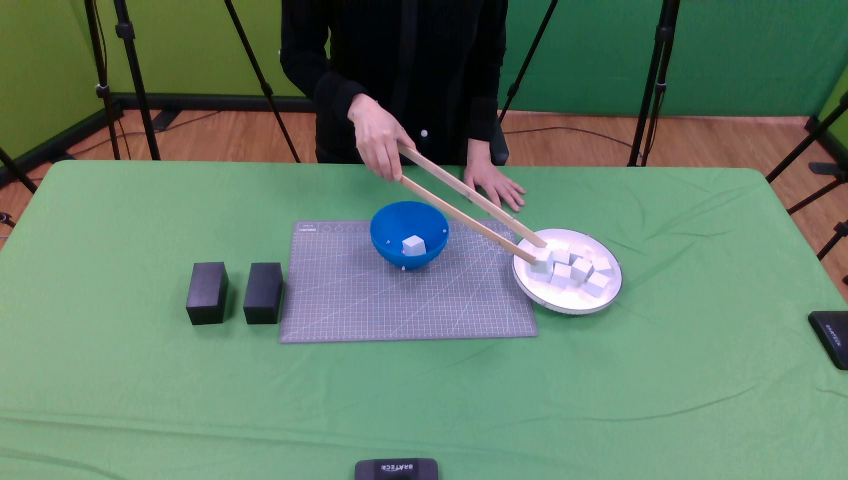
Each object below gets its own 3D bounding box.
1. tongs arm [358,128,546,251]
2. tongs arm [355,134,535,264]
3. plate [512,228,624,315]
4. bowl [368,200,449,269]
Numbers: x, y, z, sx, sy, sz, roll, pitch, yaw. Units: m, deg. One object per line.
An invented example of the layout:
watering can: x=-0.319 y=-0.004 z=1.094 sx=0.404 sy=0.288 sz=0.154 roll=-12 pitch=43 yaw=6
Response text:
tongs arm: x=0.040 y=-0.087 z=1.045 sx=0.383 sy=0.026 sz=0.050 roll=38 pitch=64 yaw=18
tongs arm: x=0.025 y=-0.071 z=1.034 sx=0.386 sy=0.028 sz=0.028 roll=34 pitch=66 yaw=16
plate: x=0.268 y=0.063 z=1.146 sx=0.208 sy=0.039 sz=0.206 roll=3 pitch=46 yaw=-3
bowl: x=-0.030 y=0.002 z=1.151 sx=0.151 sy=0.077 sz=0.150 roll=2 pitch=46 yaw=-2
